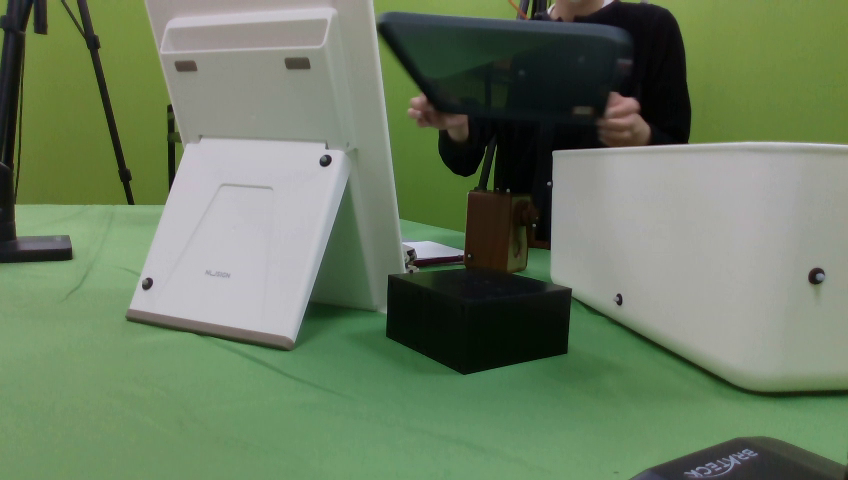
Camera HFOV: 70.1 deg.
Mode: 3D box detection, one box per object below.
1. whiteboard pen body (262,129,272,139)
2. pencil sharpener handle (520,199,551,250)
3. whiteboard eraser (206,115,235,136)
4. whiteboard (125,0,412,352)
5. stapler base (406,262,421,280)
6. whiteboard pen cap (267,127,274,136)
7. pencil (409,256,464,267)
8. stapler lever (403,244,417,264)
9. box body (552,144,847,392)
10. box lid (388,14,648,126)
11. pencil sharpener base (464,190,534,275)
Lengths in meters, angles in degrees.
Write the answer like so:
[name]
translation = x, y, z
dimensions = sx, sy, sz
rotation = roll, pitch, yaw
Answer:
[whiteboard pen body]
translation = -0.361, -0.245, 1.393
dimensions = 0.017, 0.017, 0.140
rotation = 0, 5, -20
[pencil sharpener handle]
translation = 0.147, -0.019, 0.785
dimensions = 0.030, 0.068, 0.036
rotation = 9, 28, 36
[whiteboard eraser]
translation = -0.444, -0.250, 1.322
dimensions = 0.056, 0.042, 0.112
rotation = -1, 8, -15
[whiteboard]
translation = -0.151, -0.050, 0.471
dimensions = 0.216, 0.305, 0.144
rotation = 6, 27, 24
[stapler base]
translation = -0.069, 0.027, 0.759
dimensions = 0.130, 0.024, 0.041
rotation = 9, 12, 23
[whiteboard pen cap]
translation = -0.340, -0.239, 1.337
dimensions = 0.018, 0.018, 0.033
rotation = 1, -1, -15
[pencil]
translation = 0.041, 0.028, 0.850
dimensions = 0.195, 0.012, 0.012
rotation = -5, 11, -45
[stapler lever]
translation = -0.066, 0.003, 0.755
dimensions = 0.117, 0.040, 0.027
rotation = 9, 12, 23
[box body]
translation = 0.290, 0.002, 0.549
dimensions = 0.255, 0.160, 0.363
rotation = 2, 7, -10
[box lid]
translation = 0.118, -0.199, 0.760
dimensions = 0.263, 0.015, 0.372
rotation = 7, -1, 10
[pencil sharpener base]
translation = 0.103, -0.012, 0.812
dimensions = 0.076, 0.107, 0.061
rotation = 9, 9, 36
